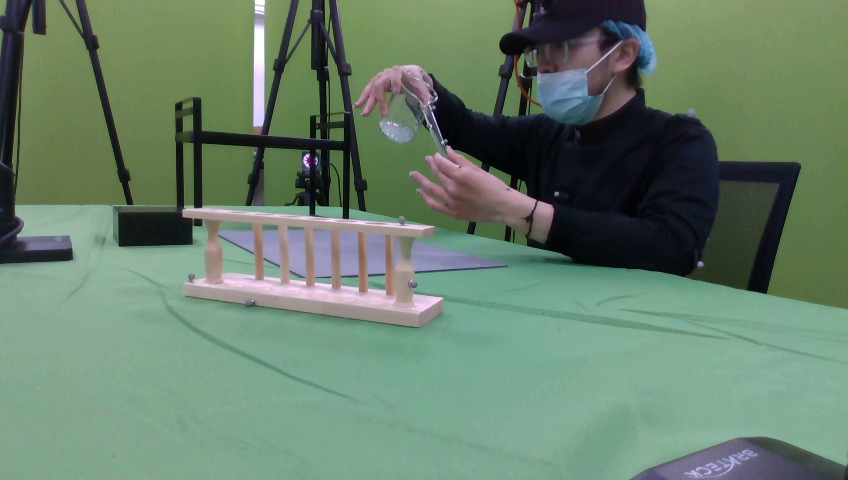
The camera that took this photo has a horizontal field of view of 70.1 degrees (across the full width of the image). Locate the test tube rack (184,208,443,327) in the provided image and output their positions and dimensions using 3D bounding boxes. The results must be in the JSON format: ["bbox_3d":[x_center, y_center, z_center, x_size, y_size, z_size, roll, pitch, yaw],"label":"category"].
[{"bbox_3d":[-0.106,0.019,0.570,0.241,0.085,0.067,5,8,19],"label":"test tube rack"}]

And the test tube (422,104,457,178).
[{"bbox_3d":[0.024,-0.161,0.974,0.017,0.150,0.017,-15,-27,-8],"label":"test tube"}]

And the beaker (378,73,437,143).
[{"bbox_3d":[-0.031,-0.226,1.059,0.074,0.100,0.083,8,43,-33],"label":"beaker"}]
